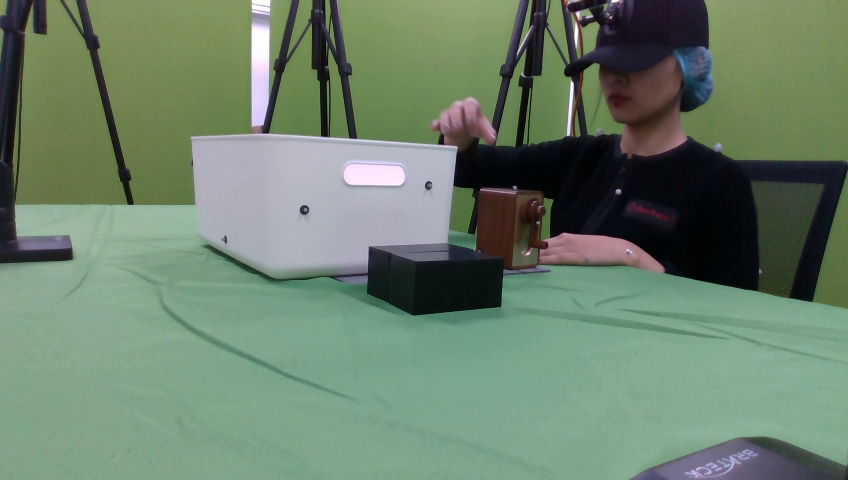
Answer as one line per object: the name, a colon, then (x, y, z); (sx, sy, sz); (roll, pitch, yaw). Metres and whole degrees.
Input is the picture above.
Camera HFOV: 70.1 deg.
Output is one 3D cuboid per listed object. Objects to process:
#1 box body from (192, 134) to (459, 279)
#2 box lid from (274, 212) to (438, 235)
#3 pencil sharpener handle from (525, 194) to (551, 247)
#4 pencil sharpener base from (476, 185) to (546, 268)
box body: (-0.154, -0.059, 0.840); (0.255, 0.160, 0.362); (-2, 9, -33)
box lid: (-0.156, -0.037, 1.283); (0.264, 0.015, 0.370); (-1, 7, -25)
pencil sharpener handle: (0.153, -0.025, 0.784); (0.036, 0.067, 0.030); (-1, 8, -41)
pencil sharpener base: (0.119, -0.019, 0.825); (0.062, 0.107, 0.076); (-3, 10, -40)
